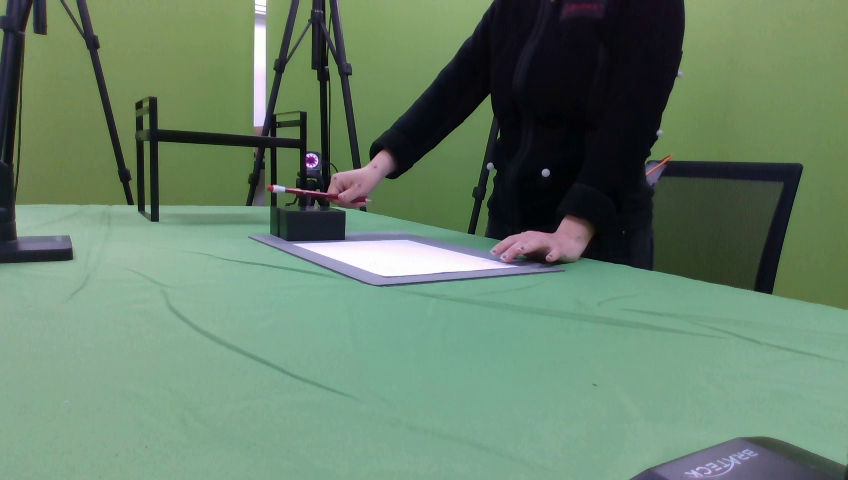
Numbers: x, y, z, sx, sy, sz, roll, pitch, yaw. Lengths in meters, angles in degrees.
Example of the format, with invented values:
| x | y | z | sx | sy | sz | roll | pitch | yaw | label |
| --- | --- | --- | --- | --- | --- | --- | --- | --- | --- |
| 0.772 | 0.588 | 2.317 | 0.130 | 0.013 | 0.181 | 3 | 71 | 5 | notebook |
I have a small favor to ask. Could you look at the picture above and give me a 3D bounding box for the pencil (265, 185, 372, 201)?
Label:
| x | y | z | sx | sy | sz | roll | pitch | yaw | label |
| --- | --- | --- | --- | --- | --- | --- | --- | --- | --- |
| -0.179 | -0.080 | 1.058 | 0.195 | 0.012 | 0.012 | 5 | 6 | -27 | pencil |
